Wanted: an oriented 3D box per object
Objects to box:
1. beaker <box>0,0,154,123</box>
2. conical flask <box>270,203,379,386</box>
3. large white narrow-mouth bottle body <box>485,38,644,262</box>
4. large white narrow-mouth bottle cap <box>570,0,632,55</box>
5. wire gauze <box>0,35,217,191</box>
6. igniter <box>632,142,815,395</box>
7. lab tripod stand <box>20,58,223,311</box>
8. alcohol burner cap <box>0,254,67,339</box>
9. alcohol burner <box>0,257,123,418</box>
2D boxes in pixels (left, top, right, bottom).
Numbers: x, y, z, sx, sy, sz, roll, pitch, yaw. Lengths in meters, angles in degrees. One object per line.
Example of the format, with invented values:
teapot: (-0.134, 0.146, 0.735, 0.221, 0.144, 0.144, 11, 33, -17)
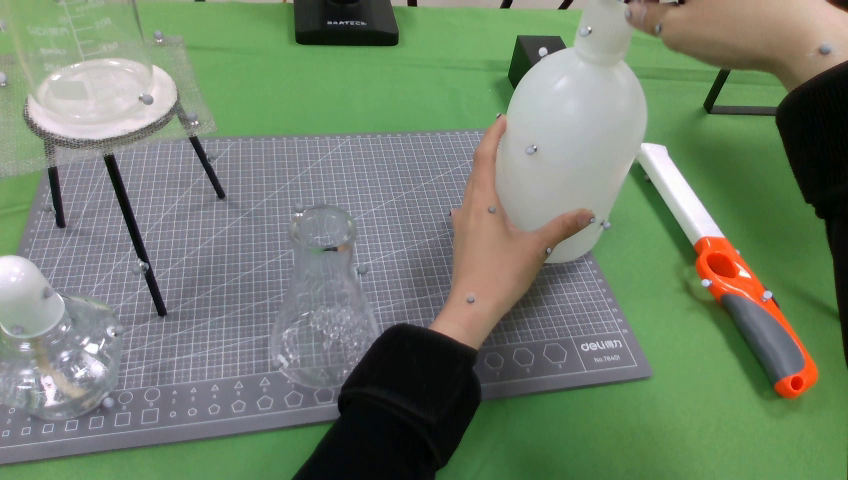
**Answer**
beaker: (-0.202, -0.124, 0.342, 0.084, 0.101, 0.073, -9, 51, -16)
conical flask: (-0.063, 0.033, 0.383, 0.075, 0.123, 0.074, 4, 47, -4)
large white narrow-mouth bottle body: (0.109, -0.079, 0.462, 0.102, 0.196, 0.101, 4, 47, -3)
large white narrow-mouth bottle cap: (0.116, -0.140, 0.396, 0.038, 0.024, 0.037, 4, 47, -4)
wire gauze: (-0.203, -0.089, 0.377, 0.122, 0.011, 0.123, -16, 56, -20)
igniter: (0.246, 0.009, 0.520, 0.057, 0.025, 0.273, 4, 46, -19)
lab tripod stand: (-0.206, -0.043, 0.424, 0.148, 0.132, 0.147, 6, 47, -6)
alcohol burner cap: (-0.215, 0.028, 0.321, 0.034, 0.048, 0.033, 4, 53, -5)
alcohol burner: (-0.219, 0.051, 0.348, 0.078, 0.120, 0.077, 6, 45, -5)
